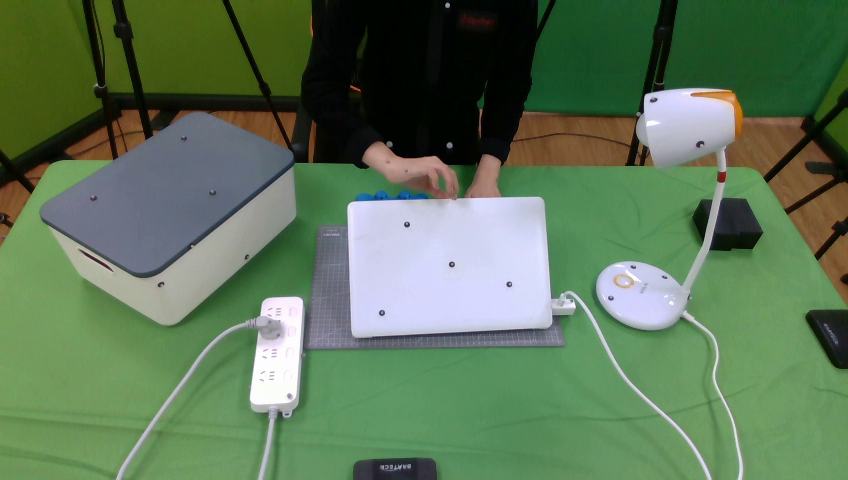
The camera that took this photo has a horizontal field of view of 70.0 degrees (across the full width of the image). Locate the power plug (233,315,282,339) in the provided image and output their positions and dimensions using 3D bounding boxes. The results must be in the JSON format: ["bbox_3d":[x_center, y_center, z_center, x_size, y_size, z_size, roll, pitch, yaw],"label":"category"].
[{"bbox_3d":[-0.271,0.143,0.999,0.072,0.053,0.035,6,47,3],"label":"power plug"}]

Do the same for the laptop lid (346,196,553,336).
[{"bbox_3d":[0.046,0.041,1.047,0.357,0.013,0.241,0,84,-6],"label":"laptop lid"}]

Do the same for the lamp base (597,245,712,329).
[{"bbox_3d":[0.418,0.051,1.071,0.179,0.181,0.160,22,49,13],"label":"lamp base"}]

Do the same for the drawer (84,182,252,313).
[{"bbox_3d":[-0.457,0.008,1.099,0.194,0.073,0.211,30,49,20],"label":"drawer"}]

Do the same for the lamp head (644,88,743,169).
[{"bbox_3d":[0.380,-0.161,0.851,0.122,0.113,0.112,-4,42,25],"label":"lamp head"}]

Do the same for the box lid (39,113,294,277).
[{"bbox_3d":[-0.435,-0.096,1.056,0.262,0.015,0.370,25,48,18],"label":"box lid"}]

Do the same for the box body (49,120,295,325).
[{"bbox_3d":[-0.437,-0.046,1.110,0.253,0.161,0.363,24,49,19],"label":"box body"}]

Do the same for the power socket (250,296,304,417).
[{"bbox_3d":[-0.239,0.182,0.996,0.072,0.033,0.225,-2,47,-5],"label":"power socket"}]

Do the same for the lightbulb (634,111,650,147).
[{"bbox_3d":[0.348,-0.163,0.852,0.059,0.060,0.107,-36,19,-32],"label":"lightbulb"}]

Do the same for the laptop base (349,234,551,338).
[{"bbox_3d":[0.040,0.081,1.125,0.355,0.023,0.234,-2,43,-6],"label":"laptop base"}]

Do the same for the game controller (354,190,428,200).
[{"bbox_3d":[-0.066,-0.072,1.243,0.155,0.052,0.096,0,49,-4],"label":"game controller"}]

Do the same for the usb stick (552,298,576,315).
[{"bbox_3d":[0.240,0.120,1.085,0.059,0.027,0.021,-2,51,-3],"label":"usb stick"}]
